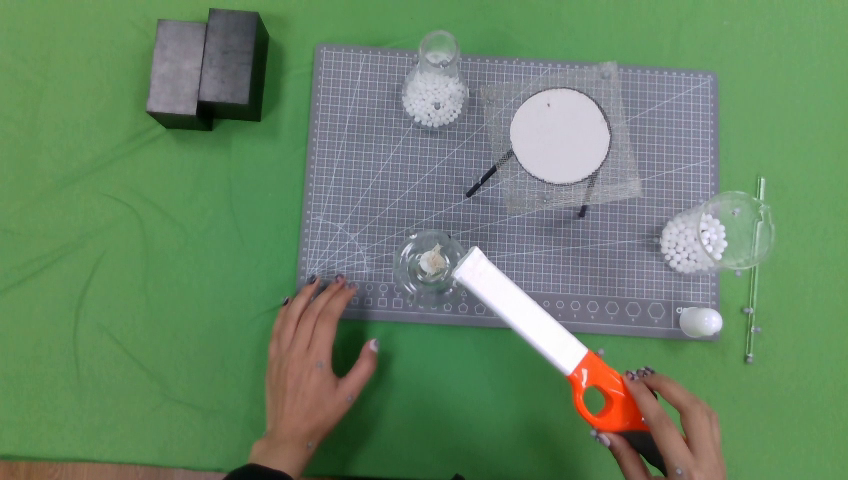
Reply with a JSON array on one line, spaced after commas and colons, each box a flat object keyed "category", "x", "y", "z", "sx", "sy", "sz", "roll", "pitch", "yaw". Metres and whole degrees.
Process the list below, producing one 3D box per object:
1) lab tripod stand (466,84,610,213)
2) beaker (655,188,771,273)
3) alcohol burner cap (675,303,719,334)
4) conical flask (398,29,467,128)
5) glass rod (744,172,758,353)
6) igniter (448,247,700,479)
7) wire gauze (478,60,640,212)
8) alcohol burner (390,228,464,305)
[{"category": "lab tripod stand", "x": 0.115, "y": -0.083, "z": 0.595, "sx": 0.148, "sy": 0.131, "sz": 0.148, "roll": 0, "pitch": 84, "yaw": -1}, {"category": "beaker", "x": 0.286, "y": -0.007, "z": 0.609, "sx": 0.084, "sy": 0.100, "sz": 0.074, "roll": -33, "pitch": 85, "yaw": -6}, {"category": "alcohol burner cap", "x": 0.286, "y": 0.081, "z": 0.626, "sx": 0.034, "sy": 0.048, "sz": 0.033, "roll": 0, "pitch": 82, "yaw": -2}, {"category": "conical flask", "x": 0.010, "y": -0.166, "z": 0.607, "sx": 0.075, "sy": 0.122, "sz": 0.075, "roll": 0, "pitch": 82, "yaw": -1}, {"category": "glass rod", "x": 0.355, "y": 0.022, "z": 0.657, "sx": 0.008, "sy": 0.008, "sz": 0.199, "roll": 7, "pitch": 82, "yaw": -1}, {"category": "igniter", "x": 0.131, "y": 0.108, "z": 0.505, "sx": 0.277, "sy": 0.025, "sz": 0.057, "roll": 42, "pitch": 80, "yaw": -6}, {"category": "wire gauze", "x": 0.118, "y": -0.090, "z": 0.528, "sx": 0.125, "sy": 0.011, "sz": 0.121, "roll": -9, "pitch": 83, "yaw": -3}, {"category": "alcohol burner", "x": 0.005, "y": 0.023, "z": 0.588, "sx": 0.078, "sy": 0.119, "sz": 0.077, "roll": 0, "pitch": 81, "yaw": 0}]
